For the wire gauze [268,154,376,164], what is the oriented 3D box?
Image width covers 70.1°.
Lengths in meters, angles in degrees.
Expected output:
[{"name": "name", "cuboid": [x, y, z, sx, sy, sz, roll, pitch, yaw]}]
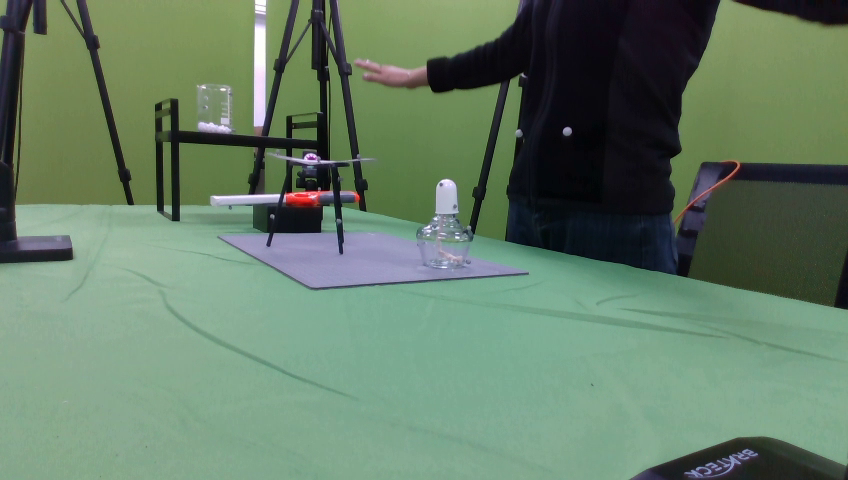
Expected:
[{"name": "wire gauze", "cuboid": [-0.154, -0.120, 0.910, 0.122, 0.011, 0.124, -5, 11, -44]}]

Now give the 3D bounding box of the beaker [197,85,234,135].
[{"name": "beaker", "cuboid": [-0.444, -0.275, 1.283, 0.074, 0.100, 0.084, 5, 8, 22]}]

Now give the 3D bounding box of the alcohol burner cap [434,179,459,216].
[{"name": "alcohol burner cap", "cuboid": [0.031, -0.057, 0.802, 0.034, 0.048, 0.034, -1, 10, 0]}]

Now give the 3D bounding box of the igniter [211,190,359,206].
[{"name": "igniter", "cuboid": [-0.257, -0.079, 1.148, 0.278, 0.025, 0.057, -5, 12, -30]}]

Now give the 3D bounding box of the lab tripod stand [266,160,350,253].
[{"name": "lab tripod stand", "cuboid": [-0.163, -0.054, 0.914, 0.148, 0.131, 0.148, 2, 9, 0]}]

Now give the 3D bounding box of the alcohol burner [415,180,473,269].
[{"name": "alcohol burner", "cuboid": [0.028, -0.021, 0.807, 0.078, 0.119, 0.078, 3, 5, 0]}]
